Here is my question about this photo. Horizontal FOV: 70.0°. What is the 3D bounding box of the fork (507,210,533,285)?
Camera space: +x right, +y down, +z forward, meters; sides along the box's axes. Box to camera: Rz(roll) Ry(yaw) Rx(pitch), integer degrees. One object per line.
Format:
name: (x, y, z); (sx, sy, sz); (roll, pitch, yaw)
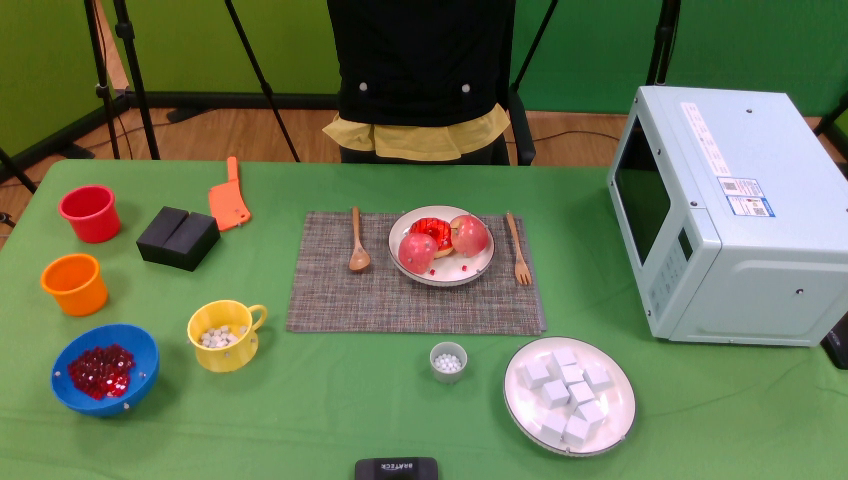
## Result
fork: (0.185, 0.012, 1.197); (0.028, 0.019, 0.206); (-5, 48, 0)

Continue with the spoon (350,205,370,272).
spoon: (-0.130, -0.008, 1.190); (0.041, 0.022, 0.192); (-22, 47, 11)

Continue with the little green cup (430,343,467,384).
little green cup: (0.039, 0.203, 0.994); (0.061, 0.039, 0.061); (2, 46, -2)

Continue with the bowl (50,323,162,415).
bowl: (-0.472, 0.209, 0.924); (0.151, 0.077, 0.150); (3, 45, -2)

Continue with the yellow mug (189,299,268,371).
yellow mug: (-0.316, 0.148, 1.002); (0.131, 0.064, 0.099); (-32, 56, -31)

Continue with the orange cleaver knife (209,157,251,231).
orange cleaver knife: (-0.409, -0.099, 1.266); (0.077, 0.012, 0.210); (-14, 50, -10)

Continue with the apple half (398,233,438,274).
apple half: (-0.016, 0.022, 1.123); (0.081, 0.033, 0.081); (-2, 83, 14)

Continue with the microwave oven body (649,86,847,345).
microwave oven body: (0.568, -0.053, 1.118); (0.326, 0.261, 0.439); (2, 45, -1)

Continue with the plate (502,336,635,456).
plate: (0.225, 0.248, 0.964); (0.208, 0.039, 0.206); (2, 46, -2)

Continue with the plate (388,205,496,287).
plate: (0.033, 0.014, 1.171); (0.209, 0.038, 0.208); (2, 46, -2)

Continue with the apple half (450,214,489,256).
apple half: (0.092, -0.013, 1.158); (0.075, 0.053, 0.080); (34, 39, -28)

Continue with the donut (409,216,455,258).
donut: (0.020, -0.007, 1.174); (0.099, 0.048, 0.098); (2, 45, -1)

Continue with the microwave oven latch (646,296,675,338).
microwave oven latch: (0.412, 0.134, 1.061); (0.030, 0.029, 0.078); (3, 45, 0)

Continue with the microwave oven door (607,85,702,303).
microwave oven door: (0.423, -0.094, 1.140); (0.039, 0.245, 0.353); (2, 46, -1)
